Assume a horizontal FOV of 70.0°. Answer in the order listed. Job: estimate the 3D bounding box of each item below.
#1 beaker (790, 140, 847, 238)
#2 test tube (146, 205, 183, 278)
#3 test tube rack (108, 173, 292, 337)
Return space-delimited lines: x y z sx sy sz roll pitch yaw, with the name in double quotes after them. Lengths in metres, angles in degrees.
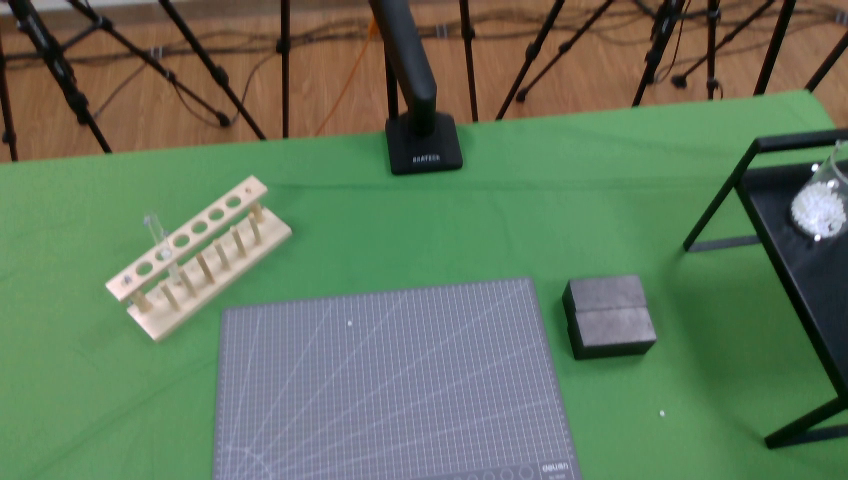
0.487 -0.057 0.711 0.074 0.101 0.083 -13 59 -10 "beaker"
-0.342 0.006 0.804 0.017 0.151 0.017 3 54 -4 "test tube"
-0.306 0.018 0.856 0.066 0.086 0.242 38 64 20 "test tube rack"
